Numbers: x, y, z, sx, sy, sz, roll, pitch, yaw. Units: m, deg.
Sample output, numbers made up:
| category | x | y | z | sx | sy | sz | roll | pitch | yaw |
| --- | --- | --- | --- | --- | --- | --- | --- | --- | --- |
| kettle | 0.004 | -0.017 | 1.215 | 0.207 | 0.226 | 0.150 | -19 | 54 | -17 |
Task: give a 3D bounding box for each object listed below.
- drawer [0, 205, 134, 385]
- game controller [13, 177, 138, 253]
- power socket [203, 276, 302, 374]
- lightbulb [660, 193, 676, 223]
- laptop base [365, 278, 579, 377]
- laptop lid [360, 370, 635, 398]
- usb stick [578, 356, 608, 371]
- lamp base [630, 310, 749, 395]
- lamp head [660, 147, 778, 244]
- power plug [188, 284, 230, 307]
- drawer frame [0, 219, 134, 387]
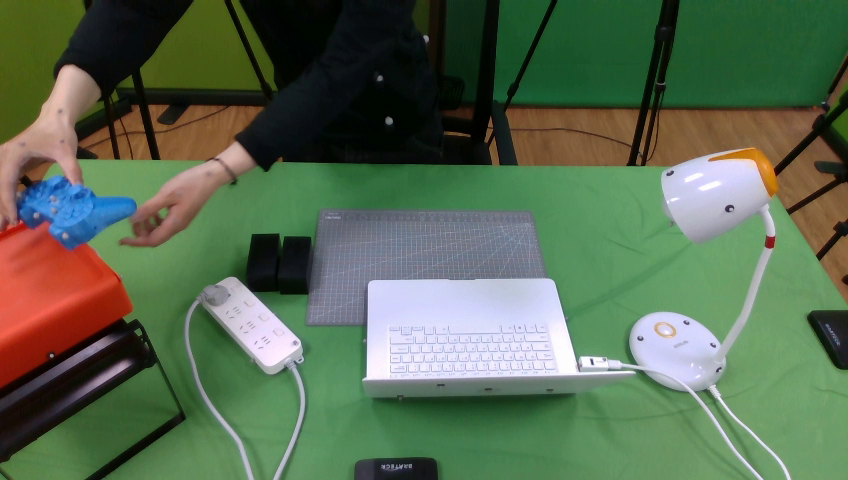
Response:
| category | x | y | z | sx | sy | sz | roll | pitch | yaw |
| --- | --- | --- | --- | --- | --- | --- | --- | --- | --- |
| drawer | -0.533 | 0.071 | 0.802 | 0.193 | 0.073 | 0.211 | 37 | 55 | 26 |
| game controller | -0.446 | -0.043 | 0.763 | 0.154 | 0.052 | 0.097 | 19 | 55 | 31 |
| power socket | -0.296 | 0.141 | 1.034 | 0.072 | 0.033 | 0.225 | -34 | 58 | -31 |
| lightbulb | 0.366 | -0.060 | 0.806 | 0.060 | 0.107 | 0.059 | 17 | 61 | -32 |
| laptop base | 0.077 | 0.162 | 1.053 | 0.355 | 0.023 | 0.234 | 0 | 44 | -4 |
| laptop lid | 0.090 | 0.208 | 0.863 | 0.357 | 0.242 | 0.013 | 0 | 71 | -6 |
| usb stick | 0.273 | 0.207 | 1.007 | 0.059 | 0.027 | 0.021 | 0 | 52 | 0 |
| lamp base | 0.447 | 0.142 | 0.984 | 0.161 | 0.181 | 0.178 | -24 | 55 | -24 |
| lamp head | 0.389 | -0.063 | 0.784 | 0.123 | 0.113 | 0.112 | -22 | 33 | 37 |
| power plug | -0.369 | 0.100 | 1.036 | 0.072 | 0.053 | 0.035 | -26 | 53 | -24 |
| drawer frame | -0.536 | 0.073 | 0.798 | 0.200 | 0.083 | 0.213 | 36 | 55 | 26 |
